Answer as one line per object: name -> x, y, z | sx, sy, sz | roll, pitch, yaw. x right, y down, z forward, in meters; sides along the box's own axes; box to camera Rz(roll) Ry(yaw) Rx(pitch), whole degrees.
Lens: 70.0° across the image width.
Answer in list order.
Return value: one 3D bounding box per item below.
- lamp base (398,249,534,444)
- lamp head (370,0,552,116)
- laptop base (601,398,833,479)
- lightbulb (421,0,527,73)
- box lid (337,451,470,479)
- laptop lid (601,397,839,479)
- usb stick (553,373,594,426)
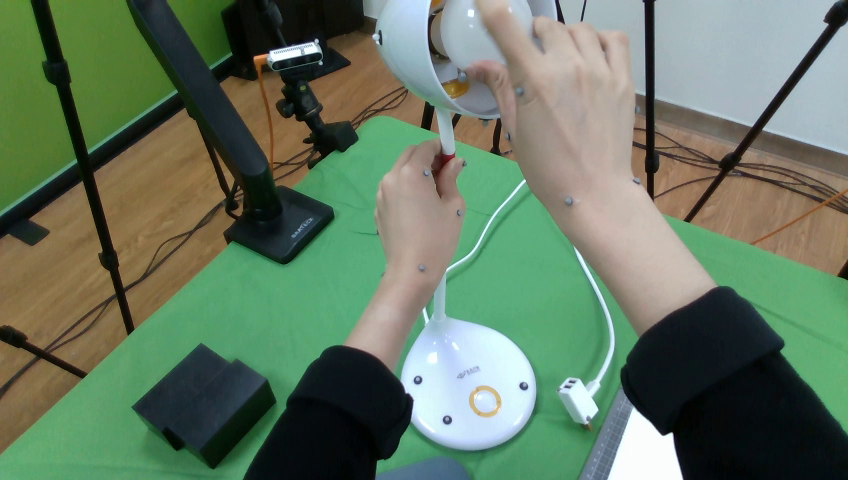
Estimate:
lamp base -> 0.038, 0.106, 0.664 | 0.161, 0.182, 0.177 | -30, 51, -23
lamp head -> 0.016, -0.148, 0.445 | 0.112, 0.113, 0.122 | -31, 23, -23
laptop base -> 0.335, 0.318, 0.574 | 0.352, 0.023, 0.234 | 21, 56, 19
lightbulb -> 0.025, -0.146, 0.417 | 0.059, 0.060, 0.106 | -28, 27, -22
box lid -> -0.038, 0.384, 0.532 | 0.264, 0.015, 0.367 | -13, 50, -10
laptop lid -> 0.333, 0.312, 0.564 | 0.354, 0.013, 0.240 | 22, 55, 20
usb stick -> 0.172, 0.181, 0.682 | 0.027, 0.059, 0.021 | -35, 13, -31
